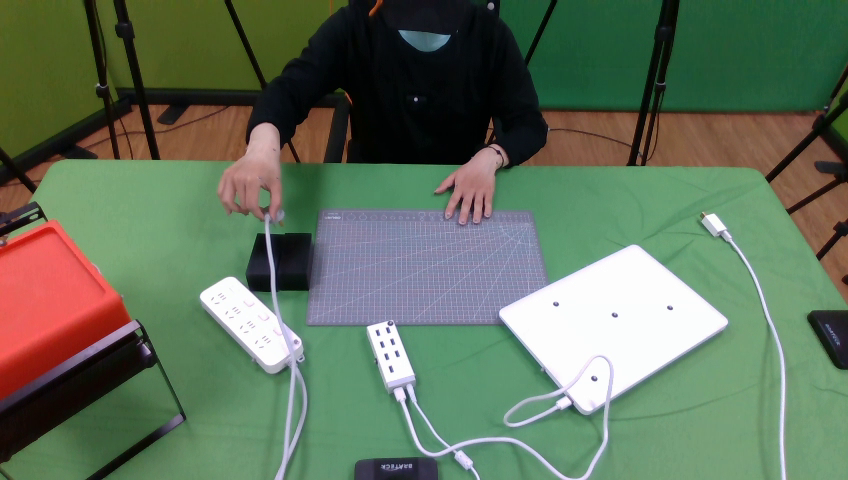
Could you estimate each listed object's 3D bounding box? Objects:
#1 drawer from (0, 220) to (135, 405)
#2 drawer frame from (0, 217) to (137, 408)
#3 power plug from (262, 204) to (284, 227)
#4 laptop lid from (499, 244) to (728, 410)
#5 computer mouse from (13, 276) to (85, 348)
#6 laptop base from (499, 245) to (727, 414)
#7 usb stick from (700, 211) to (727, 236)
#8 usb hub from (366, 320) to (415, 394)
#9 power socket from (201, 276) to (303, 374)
[{"bbox_3d":[-0.522,0.093,0.782,0.193,0.073,0.211,37,55,27],"label":"drawer"},{"bbox_3d":[-0.523,0.094,0.779,0.200,0.083,0.213,37,55,26],"label":"drawer frame"},{"bbox_3d":[-0.283,-0.035,1.116,0.035,0.053,0.072,-3,41,19],"label":"power plug"},{"bbox_3d":[0.338,0.136,1.081,0.357,0.013,0.240,-21,50,-23],"label":"laptop lid"},{"bbox_3d":[-0.497,0.090,0.804,0.063,0.041,0.116,-7,42,-7],"label":"computer mouse"},{"bbox_3d":[0.339,0.145,1.088,0.354,0.023,0.234,-23,49,-24],"label":"laptop base"},{"bbox_3d":[0.605,-0.038,1.273,0.027,0.021,0.059,-18,56,-20],"label":"usb stick"},{"bbox_3d":[-0.056,0.192,1.009,0.049,0.025,0.124,-12,49,-16],"label":"usb hub"},{"bbox_3d":[-0.296,0.141,1.034,0.225,0.033,0.072,37,55,26],"label":"power socket"}]
